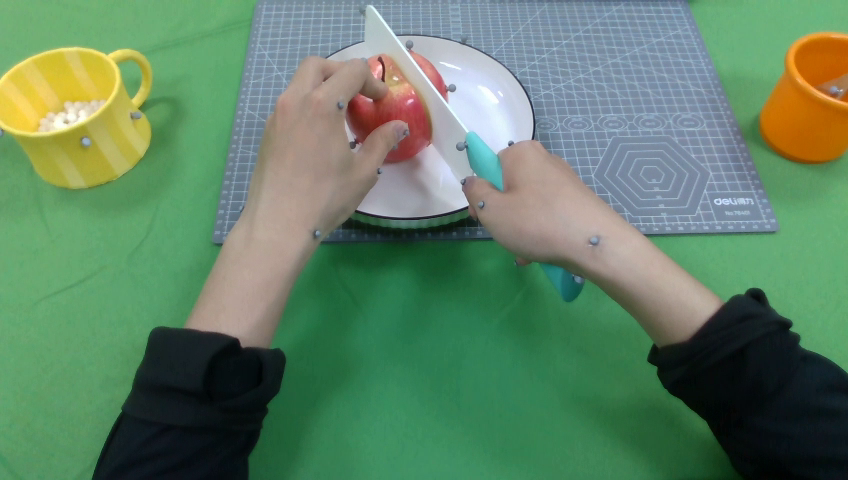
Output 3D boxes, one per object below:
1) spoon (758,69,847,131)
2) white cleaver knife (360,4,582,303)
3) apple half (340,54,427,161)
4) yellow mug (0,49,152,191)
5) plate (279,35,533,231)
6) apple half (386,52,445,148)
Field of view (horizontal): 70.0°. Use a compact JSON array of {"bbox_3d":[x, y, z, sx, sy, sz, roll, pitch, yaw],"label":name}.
[{"bbox_3d":[0.370,-0.147,0.487,0.022,0.194,0.041,25,44,-38],"label":"spoon"},{"bbox_3d":[0.024,-0.070,0.450,0.021,0.066,0.284,-27,66,-16],"label":"white cleaver knife"},{"bbox_3d":[-0.039,-0.099,0.486,0.053,0.075,0.080,-30,68,-12],"label":"apple half"},{"bbox_3d":[-0.282,-0.110,0.508,0.099,0.064,0.130,29,61,17],"label":"yellow mug"},{"bbox_3d":[-0.015,-0.091,0.511,0.209,0.038,0.207,1,58,0],"label":"plate"},{"bbox_3d":[-0.003,-0.117,0.497,0.033,0.082,0.080,-28,62,-18],"label":"apple half"}]
